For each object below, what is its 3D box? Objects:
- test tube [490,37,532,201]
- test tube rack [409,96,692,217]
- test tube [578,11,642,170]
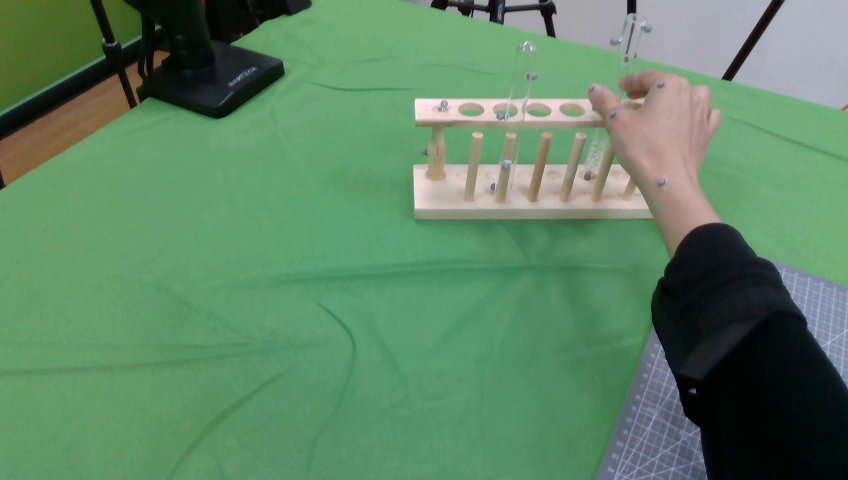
[{"bbox_3d":[0.069,-0.093,0.495,0.017,0.152,0.017,2,44,-1],"label":"test tube"},{"bbox_3d":[0.109,-0.074,0.541,0.242,0.086,0.066,-1,45,-3],"label":"test tube rack"},{"bbox_3d":[0.157,-0.122,0.521,0.017,0.151,0.017,3,44,-2],"label":"test tube"}]
